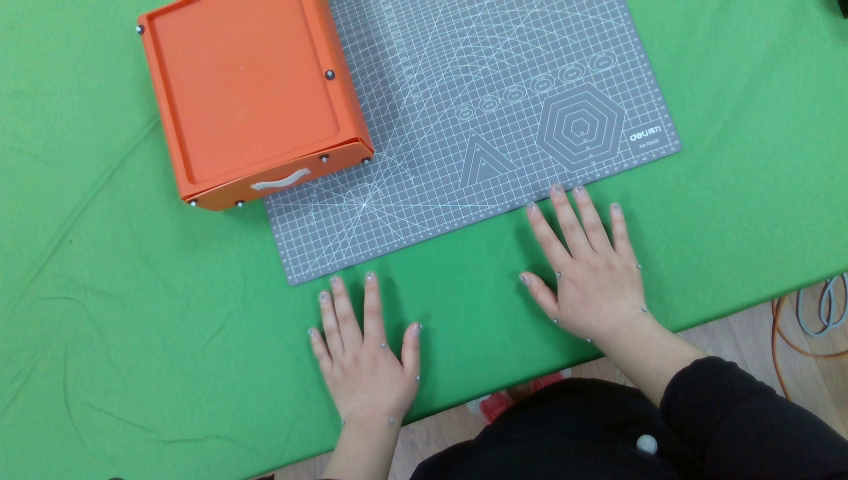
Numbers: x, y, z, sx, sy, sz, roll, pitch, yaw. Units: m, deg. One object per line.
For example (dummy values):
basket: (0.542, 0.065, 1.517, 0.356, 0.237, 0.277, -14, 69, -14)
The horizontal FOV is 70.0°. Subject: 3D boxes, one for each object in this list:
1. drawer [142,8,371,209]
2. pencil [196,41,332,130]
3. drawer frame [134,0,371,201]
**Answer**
drawer: (-0.183, -0.161, 0.661, 0.194, 0.073, 0.211, -18, 82, 7)
pencil: (-0.181, -0.175, 0.684, 0.193, 0.012, 0.012, 33, 90, 9)
drawer frame: (-0.186, -0.166, 0.661, 0.201, 0.083, 0.213, -19, 82, 7)
